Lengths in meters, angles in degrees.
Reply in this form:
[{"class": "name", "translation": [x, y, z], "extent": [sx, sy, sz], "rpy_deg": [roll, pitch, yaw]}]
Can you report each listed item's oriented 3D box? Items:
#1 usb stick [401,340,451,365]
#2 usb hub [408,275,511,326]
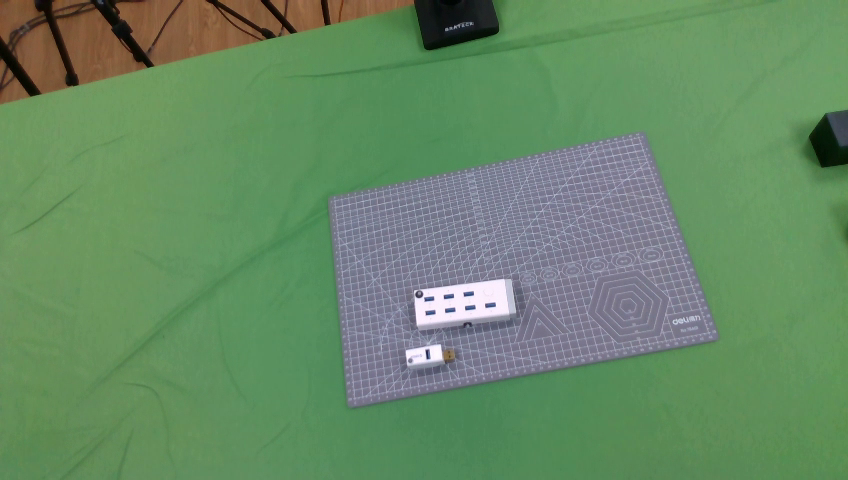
[{"class": "usb stick", "translation": [0.003, 0.137, 0.737], "extent": [0.059, 0.027, 0.021], "rpy_deg": [-9, 66, 2]}, {"class": "usb hub", "translation": [0.044, 0.075, 0.759], "extent": [0.125, 0.025, 0.049], "rpy_deg": [-7, 65, 5]}]
